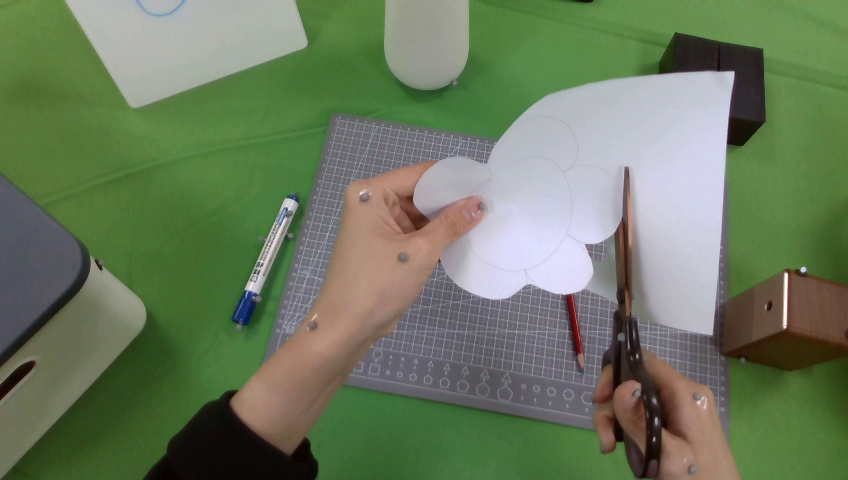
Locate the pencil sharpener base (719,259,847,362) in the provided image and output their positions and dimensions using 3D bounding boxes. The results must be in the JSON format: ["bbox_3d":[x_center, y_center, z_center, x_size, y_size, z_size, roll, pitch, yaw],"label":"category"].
[{"bbox_3d":[0.338,0.070,0.565,0.077,0.107,0.061,14,68,1],"label":"pencil sharpener base"}]

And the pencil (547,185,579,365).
[{"bbox_3d":[0.144,0.032,0.625,0.012,0.012,0.192,-3,71,-3],"label":"pencil"}]

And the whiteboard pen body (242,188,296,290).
[{"bbox_3d":[-0.163,0.008,0.623,0.017,0.017,0.140,16,67,5],"label":"whiteboard pen body"}]

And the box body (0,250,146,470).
[{"bbox_3d":[-0.469,0.031,0.528,0.362,0.161,0.253,35,72,11],"label":"box body"}]

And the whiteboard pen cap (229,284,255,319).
[{"bbox_3d":[-0.178,0.060,0.600,0.018,0.018,0.033,15,65,5],"label":"whiteboard pen cap"}]

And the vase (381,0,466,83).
[{"bbox_3d":[-0.001,-0.256,0.633,0.098,0.201,0.097,0,67,0],"label":"vase"}]

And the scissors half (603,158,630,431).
[{"bbox_3d":[0.118,0.037,0.365,0.013,0.040,0.176,-2,112,5],"label":"scissors half"}]

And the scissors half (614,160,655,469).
[{"bbox_3d":[0.116,0.040,0.342,0.013,0.040,0.174,-2,82,0],"label":"scissors half"}]

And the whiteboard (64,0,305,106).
[{"bbox_3d":[-0.285,-0.337,0.632,0.217,0.308,0.142,-23,52,-10],"label":"whiteboard"}]

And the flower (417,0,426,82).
[{"bbox_3d":[-0.004,-0.300,0.561,0.044,0.365,0.038,3,51,3],"label":"flower"}]

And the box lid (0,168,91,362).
[{"bbox_3d":[-0.469,0.003,0.459,0.370,0.015,0.262,35,72,11],"label":"box lid"}]

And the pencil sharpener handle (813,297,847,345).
[{"bbox_3d":[0.388,0.078,0.553,0.030,0.068,0.035,14,63,1],"label":"pencil sharpener handle"}]
